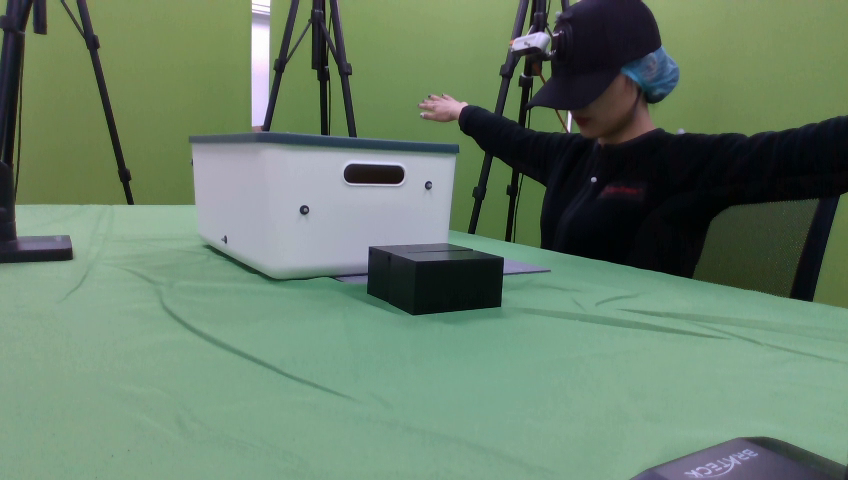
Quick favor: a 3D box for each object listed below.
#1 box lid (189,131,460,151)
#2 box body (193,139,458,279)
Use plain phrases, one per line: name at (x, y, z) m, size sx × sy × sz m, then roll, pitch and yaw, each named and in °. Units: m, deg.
box lid at (-0.150, -0.132, 0.828) m, size 0.265 × 0.015 × 0.369 m, roll -3°, pitch 9°, yaw -33°
box body at (-0.154, -0.059, 0.840) m, size 0.255 × 0.160 × 0.362 m, roll -2°, pitch 9°, yaw -33°
